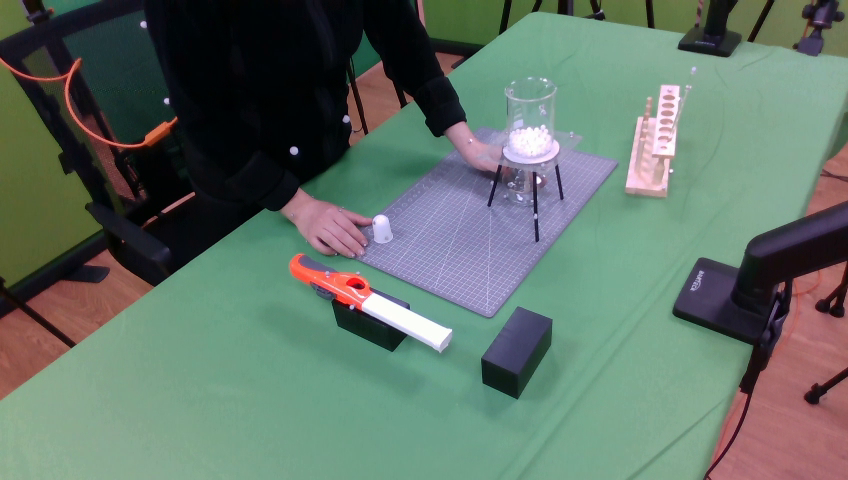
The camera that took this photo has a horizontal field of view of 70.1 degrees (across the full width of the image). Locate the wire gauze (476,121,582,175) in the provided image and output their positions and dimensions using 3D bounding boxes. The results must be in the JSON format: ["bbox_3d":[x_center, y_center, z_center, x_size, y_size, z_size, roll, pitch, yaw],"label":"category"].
[{"bbox_3d":[0.162,-0.141,0.929,0.120,0.011,0.125,19,49,32],"label":"wire gauze"}]

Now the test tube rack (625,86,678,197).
[{"bbox_3d":[0.412,-0.184,1.088,0.066,0.085,0.242,9,43,18],"label":"test tube rack"}]

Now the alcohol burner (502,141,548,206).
[{"bbox_3d":[0.170,-0.117,1.016,0.078,0.119,0.077,-5,42,5],"label":"alcohol burner"}]

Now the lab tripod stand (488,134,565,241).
[{"bbox_3d":[0.168,-0.092,0.972,0.148,0.132,0.147,-5,41,5],"label":"lab tripod stand"}]

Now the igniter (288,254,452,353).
[{"bbox_3d":[-0.083,0.080,0.818,0.274,0.025,0.057,23,46,27],"label":"igniter"}]

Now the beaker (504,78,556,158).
[{"bbox_3d":[0.160,-0.181,0.900,0.084,0.101,0.073,-33,46,-27],"label":"beaker"}]

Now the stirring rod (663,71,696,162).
[{"bbox_3d":[0.411,-0.195,0.981,0.014,0.177,0.006,12,50,14],"label":"stirring rod"}]

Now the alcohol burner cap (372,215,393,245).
[{"bbox_3d":[-0.070,-0.019,0.990,0.034,0.048,0.033,-4,41,4],"label":"alcohol burner cap"}]
